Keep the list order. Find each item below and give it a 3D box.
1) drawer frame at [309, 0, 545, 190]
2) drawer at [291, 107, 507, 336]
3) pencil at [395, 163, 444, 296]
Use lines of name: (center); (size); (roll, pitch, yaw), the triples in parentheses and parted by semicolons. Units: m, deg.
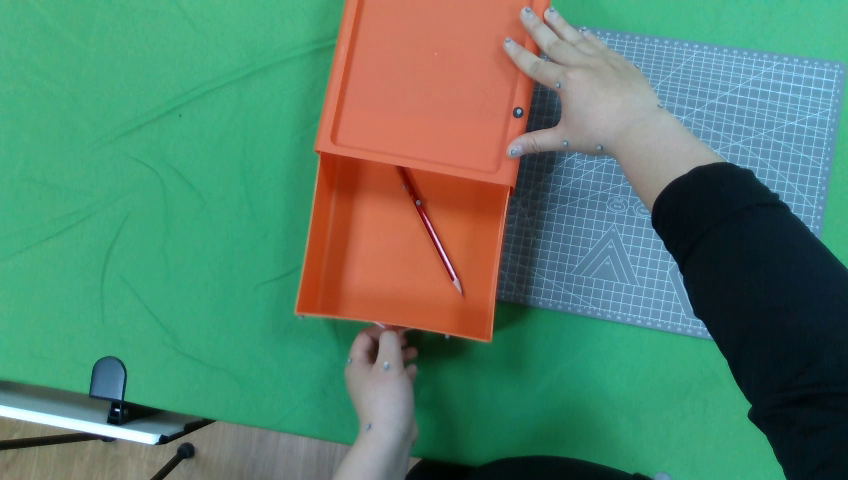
drawer frame: (0.007, -0.171, 0.613); (0.201, 0.083, 0.213); (10, 88, 7)
drawer: (-0.019, -0.020, 0.610); (0.194, 0.073, 0.211); (7, 88, 7)
pencil: (-0.011, -0.034, 0.636); (0.012, 0.012, 0.193); (-19, 86, 5)
